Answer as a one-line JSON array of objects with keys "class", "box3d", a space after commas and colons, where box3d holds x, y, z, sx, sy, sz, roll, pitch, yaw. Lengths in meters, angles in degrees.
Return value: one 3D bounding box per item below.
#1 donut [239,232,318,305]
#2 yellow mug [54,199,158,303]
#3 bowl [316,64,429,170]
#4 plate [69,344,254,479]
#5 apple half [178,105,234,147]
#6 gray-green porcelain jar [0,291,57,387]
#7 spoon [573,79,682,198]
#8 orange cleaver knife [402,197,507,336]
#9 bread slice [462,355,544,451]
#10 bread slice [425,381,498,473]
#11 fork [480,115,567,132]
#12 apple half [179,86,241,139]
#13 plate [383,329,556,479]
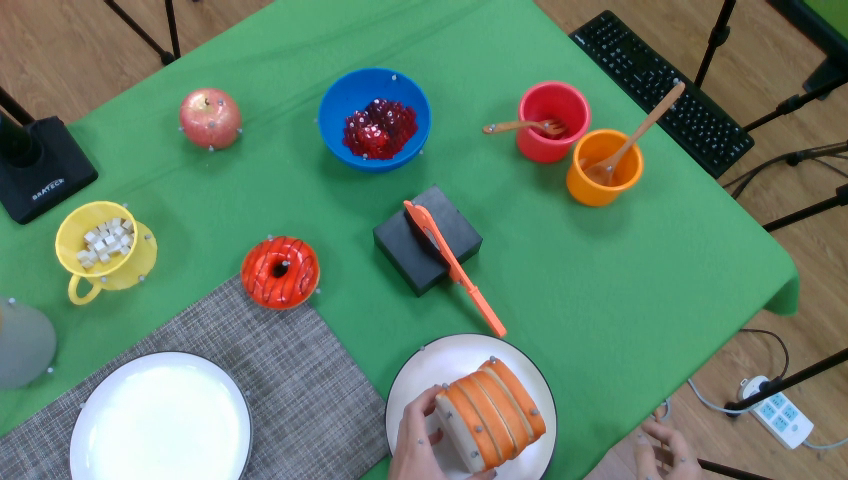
[{"class": "donut", "box3d": [-0.186, 0.037, 0.777, 0.099, 0.048, 0.098, 1, 72, -2]}, {"class": "yellow mug", "box3d": [-0.408, 0.019, 0.767, 0.100, 0.064, 0.130, 20, 73, 4]}, {"class": "bowl", "box3d": [-0.068, -0.155, 0.832, 0.151, 0.077, 0.150, 1, 72, -2]}, {"class": "plate", "box3d": [-0.302, 0.229, 0.713, 0.208, 0.039, 0.206, 1, 72, -2]}, {"class": "apple half", "box3d": [-0.298, -0.145, 0.820, 0.081, 0.082, 0.032, 17, 67, 4]}, {"class": "gray-green porcelain jar", "box3d": [-0.503, 0.113, 0.700, 0.106, 0.127, 0.105, 1, 71, -2]}, {"class": "spoon", "box3d": [0.268, -0.131, 0.801, 0.041, 0.194, 0.022, 48, 32, 15]}, {"class": "orange cleaver knife", "box3d": [0.037, 0.033, 0.771, 0.012, 0.077, 0.212, -36, 101, -13]}, {"class": "bread slice", "box3d": [0.089, 0.186, 0.688, 0.018, 0.135, 0.106, -29, 76, -21]}, {"class": "bread slice", "box3d": [0.039, 0.209, 0.678, 0.019, 0.132, 0.104, -27, 74, -19]}, {"class": "fork", "box3d": [0.135, -0.155, 0.804, 0.208, 0.018, 0.028, -14, 67, -51]}, {"class": "apple half", "box3d": [-0.287, -0.179, 0.834, 0.080, 0.075, 0.053, 16, 66, 7]}, {"class": "plate", "box3d": [0.054, 0.213, 0.736, 0.209, 0.038, 0.207, 1, 72, -2]}]
